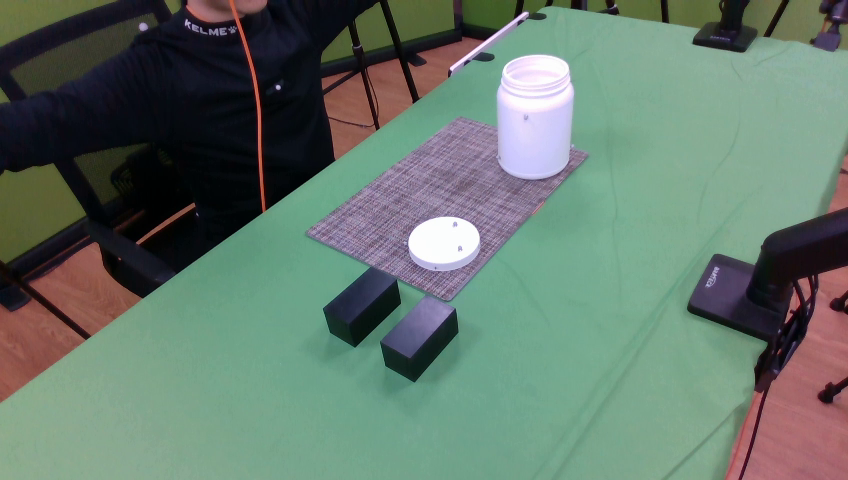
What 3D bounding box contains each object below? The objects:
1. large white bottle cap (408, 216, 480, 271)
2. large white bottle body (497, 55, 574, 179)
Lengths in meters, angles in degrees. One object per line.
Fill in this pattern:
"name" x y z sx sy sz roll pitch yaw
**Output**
"large white bottle cap" 0.032 0.004 0.957 0.115 0.018 0.114 -4 41 4
"large white bottle body" 0.194 -0.216 1.060 0.130 0.185 0.130 -4 41 4
